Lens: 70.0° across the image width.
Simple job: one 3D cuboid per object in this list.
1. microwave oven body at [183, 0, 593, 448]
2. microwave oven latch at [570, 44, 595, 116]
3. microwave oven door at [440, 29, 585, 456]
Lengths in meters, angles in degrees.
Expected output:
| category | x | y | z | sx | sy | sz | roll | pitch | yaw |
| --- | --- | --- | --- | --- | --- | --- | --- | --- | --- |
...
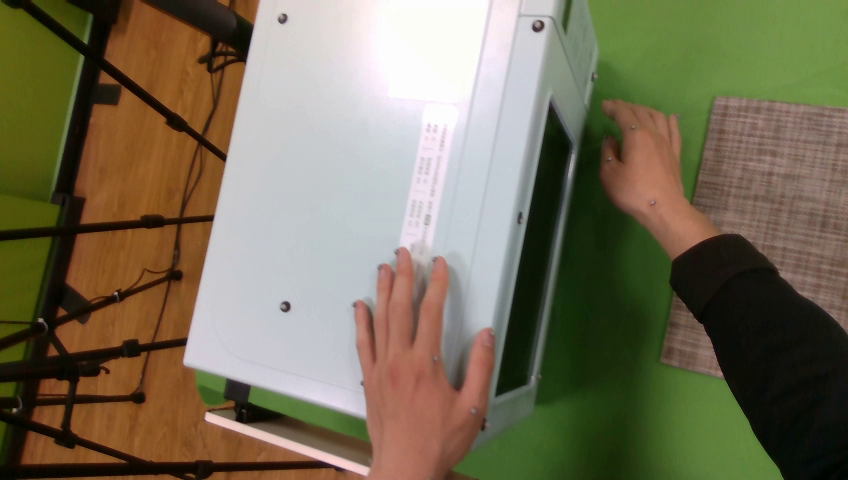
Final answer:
| category | x | y | z | sx | sy | sz | roll | pitch | yaw |
| --- | --- | --- | --- | --- | --- | --- | --- | --- | --- |
| microwave oven body | -0.026 | -0.049 | 0.659 | 0.324 | 0.262 | 0.441 | 10 | 87 | 22 |
| microwave oven latch | 0.179 | -0.186 | 0.703 | 0.030 | 0.030 | 0.079 | 10 | 87 | 22 |
| microwave oven door | 0.097 | 0.013 | 0.597 | 0.039 | 0.245 | 0.355 | 10 | 86 | 23 |
